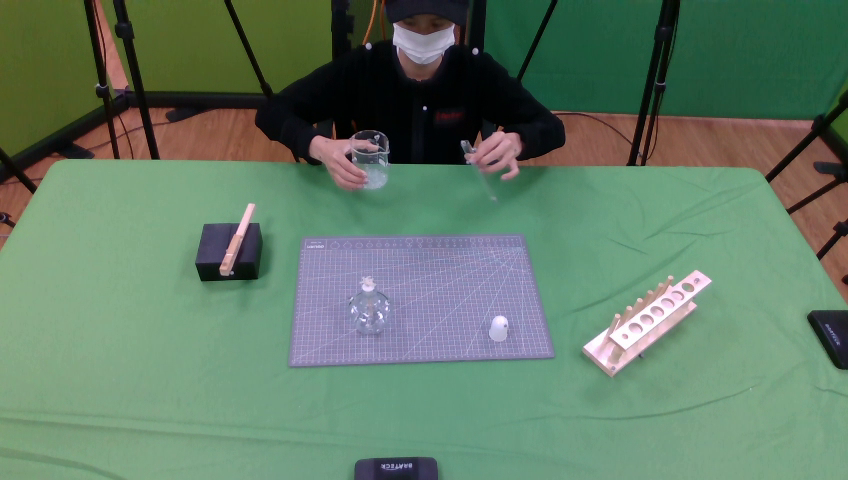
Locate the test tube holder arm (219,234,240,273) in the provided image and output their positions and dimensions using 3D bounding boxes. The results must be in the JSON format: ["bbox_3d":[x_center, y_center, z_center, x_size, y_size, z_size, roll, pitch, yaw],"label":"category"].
[{"bbox_3d":[-0.344,0.023,1.076,0.015,0.010,0.087,5,45,2],"label":"test tube holder arm"}]

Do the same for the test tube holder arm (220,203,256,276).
[{"bbox_3d":[-0.340,-0.005,1.112,0.015,0.013,0.177,5,46,2],"label":"test tube holder arm"}]

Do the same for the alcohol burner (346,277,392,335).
[{"bbox_3d":[-0.093,0.106,1.021,0.078,0.120,0.077,1,46,-1],"label":"alcohol burner"}]

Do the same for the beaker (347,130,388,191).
[{"bbox_3d":[-0.106,-0.152,1.188,0.084,0.101,0.074,23,52,18],"label":"beaker"}]

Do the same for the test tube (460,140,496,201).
[{"bbox_3d":[0.103,-0.127,1.131,0.017,0.151,0.017,-18,42,18],"label":"test tube"}]

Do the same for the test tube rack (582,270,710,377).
[{"bbox_3d":[0.389,0.132,1.057,0.242,0.085,0.066,-28,53,-28],"label":"test tube rack"}]

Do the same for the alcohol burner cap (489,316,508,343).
[{"bbox_3d":[0.130,0.151,1.045,0.034,0.048,0.033,2,46,-2],"label":"alcohol burner cap"}]
